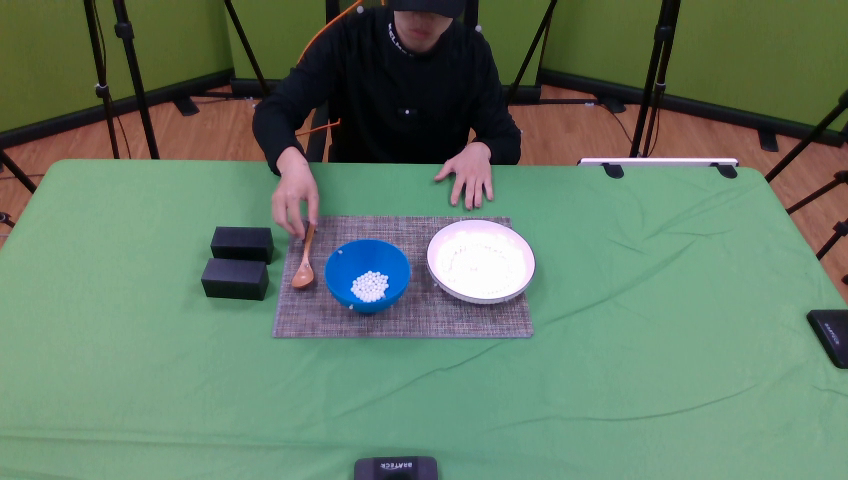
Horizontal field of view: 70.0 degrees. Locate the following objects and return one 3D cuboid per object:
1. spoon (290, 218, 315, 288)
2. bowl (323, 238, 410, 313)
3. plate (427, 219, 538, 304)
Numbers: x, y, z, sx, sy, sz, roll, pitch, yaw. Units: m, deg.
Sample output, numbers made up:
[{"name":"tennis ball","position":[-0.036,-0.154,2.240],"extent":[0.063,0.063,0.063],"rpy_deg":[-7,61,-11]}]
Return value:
[{"name":"spoon","position":[-0.224,0.021,1.156],"extent":[0.041,0.022,0.192],"rpy_deg":[-12,45,11]},{"name":"bowl","position":[-0.101,0.077,1.073],"extent":[0.151,0.077,0.150],"rpy_deg":[2,46,-2]},{"name":"plate","position":[0.109,0.044,1.149],"extent":[0.208,0.039,0.206],"rpy_deg":[2,46,-2]}]
